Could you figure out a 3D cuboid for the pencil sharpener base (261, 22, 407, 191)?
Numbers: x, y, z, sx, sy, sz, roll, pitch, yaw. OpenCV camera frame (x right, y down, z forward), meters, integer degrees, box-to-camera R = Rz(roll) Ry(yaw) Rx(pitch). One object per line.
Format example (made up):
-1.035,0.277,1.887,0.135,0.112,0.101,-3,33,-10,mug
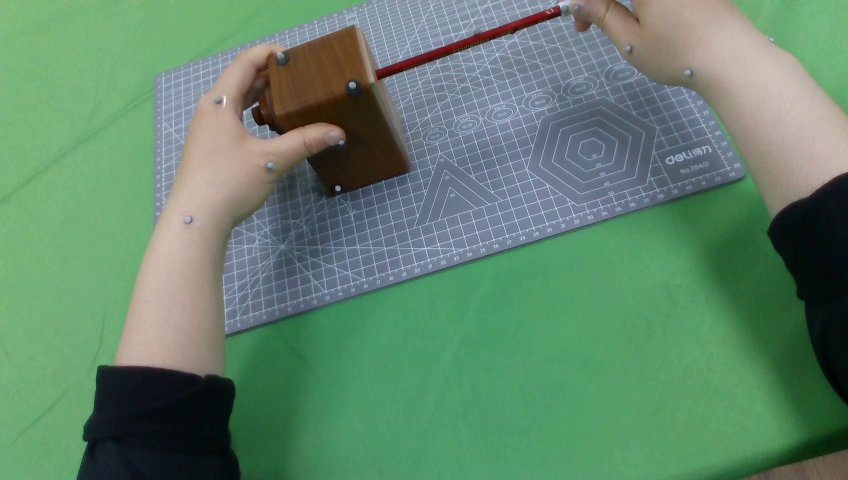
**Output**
-0.065,-0.093,0.452,0.076,0.108,0.061,-18,61,5,pencil sharpener base

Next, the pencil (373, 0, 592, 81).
0.026,-0.137,0.420,0.194,0.012,0.012,-20,61,6,pencil

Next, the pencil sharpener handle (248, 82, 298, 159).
-0.116,-0.083,0.446,0.030,0.068,0.035,-18,63,5,pencil sharpener handle
